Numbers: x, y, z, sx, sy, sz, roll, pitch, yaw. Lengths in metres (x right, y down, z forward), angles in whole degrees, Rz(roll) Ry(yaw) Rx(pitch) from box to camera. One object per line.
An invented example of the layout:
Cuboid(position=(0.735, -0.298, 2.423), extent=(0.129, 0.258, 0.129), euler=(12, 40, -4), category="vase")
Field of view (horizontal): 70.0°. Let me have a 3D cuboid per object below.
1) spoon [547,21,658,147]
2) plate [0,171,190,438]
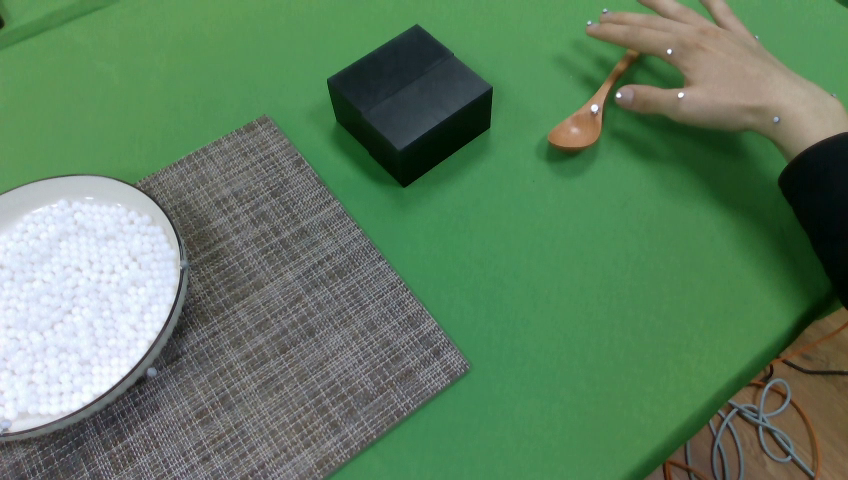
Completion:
Cuboid(position=(0.169, -0.144, 0.545), extent=(0.041, 0.022, 0.193), euler=(24, 64, 32), category="spoon")
Cuboid(position=(-0.274, 0.043, 0.447), extent=(0.209, 0.038, 0.207), euler=(-1, 61, 2), category="plate")
